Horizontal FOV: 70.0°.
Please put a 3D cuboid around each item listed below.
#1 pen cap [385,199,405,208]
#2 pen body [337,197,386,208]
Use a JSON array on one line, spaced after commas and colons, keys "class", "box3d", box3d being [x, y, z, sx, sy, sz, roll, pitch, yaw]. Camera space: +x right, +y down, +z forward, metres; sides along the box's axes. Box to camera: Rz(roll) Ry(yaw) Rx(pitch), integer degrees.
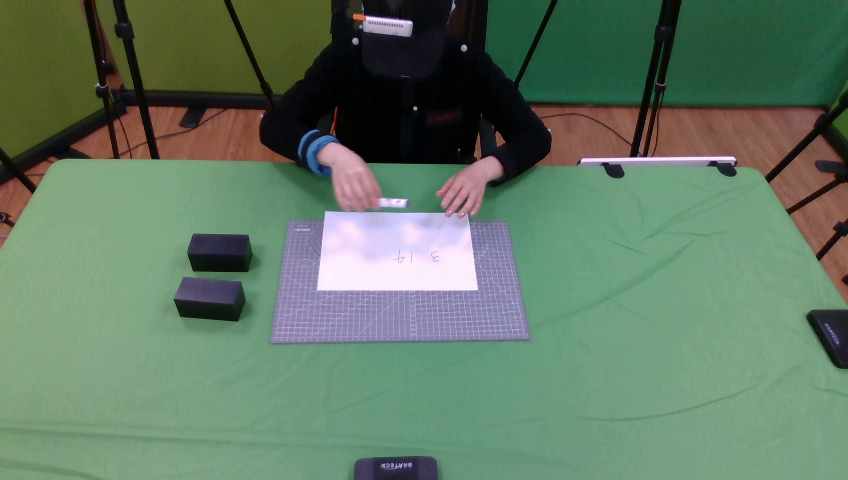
[{"class": "pen cap", "box3d": [-0.053, -0.067, 1.134, 0.038, 0.017, 0.017, 6, 42, 33]}, {"class": "pen body", "box3d": [-0.107, -0.072, 1.167, 0.143, 0.017, 0.017, 6, 42, 31]}]
